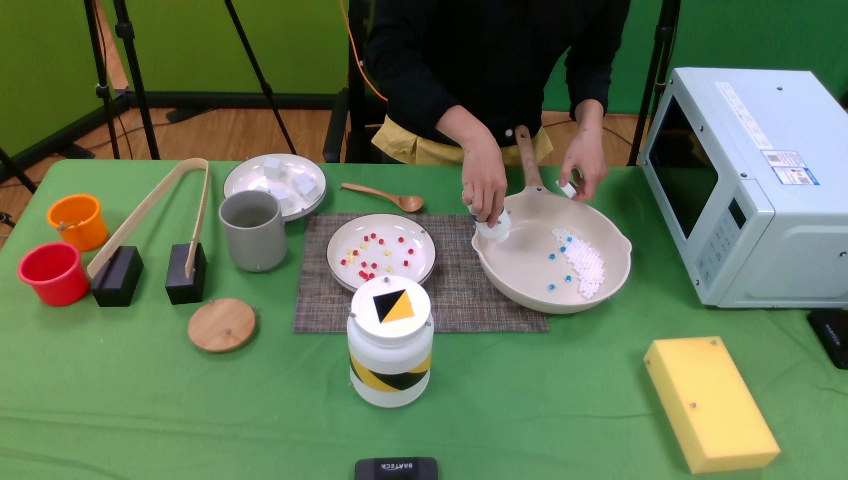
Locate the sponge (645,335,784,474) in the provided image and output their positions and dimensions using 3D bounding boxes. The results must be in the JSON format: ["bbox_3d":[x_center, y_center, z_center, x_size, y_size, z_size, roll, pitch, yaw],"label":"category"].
[{"bbox_3d":[0.449,0.253,0.956,0.118,0.061,0.205,-4,46,-7],"label":"sponge"}]

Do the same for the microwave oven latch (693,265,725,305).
[{"bbox_3d":[0.523,0.082,1.116,0.030,0.029,0.078,2,46,-1],"label":"microwave oven latch"}]

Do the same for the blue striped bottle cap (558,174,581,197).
[{"bbox_3d":[0.281,-0.106,1.164,0.045,0.020,0.044,29,36,-23],"label":"blue striped bottle cap"}]

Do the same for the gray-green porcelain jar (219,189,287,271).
[{"bbox_3d":[-0.310,-0.014,1.113,0.106,0.127,0.105,2,46,-2],"label":"gray-green porcelain jar"}]

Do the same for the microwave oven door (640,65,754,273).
[{"bbox_3d":[0.524,-0.148,1.193,0.039,0.245,0.353,0,47,-3],"label":"microwave oven door"}]

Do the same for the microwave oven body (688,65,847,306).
[{"bbox_3d":[0.669,-0.111,1.176,0.326,0.261,0.439,0,46,-3],"label":"microwave oven body"}]

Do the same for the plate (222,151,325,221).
[{"bbox_3d":[-0.310,-0.106,1.263,0.208,0.039,0.206,2,47,-2],"label":"plate"}]

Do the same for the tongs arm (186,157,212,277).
[{"bbox_3d":[-0.445,-0.058,1.168,0.051,0.026,0.382,-5,37,-6],"label":"tongs arm"}]

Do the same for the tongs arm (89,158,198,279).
[{"bbox_3d":[-0.529,-0.057,1.164,0.028,0.028,0.385,1,36,8],"label":"tongs arm"}]

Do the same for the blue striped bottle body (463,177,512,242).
[{"bbox_3d":[0.121,-0.051,1.111,0.063,0.121,0.062,-19,36,15],"label":"blue striped bottle body"}]

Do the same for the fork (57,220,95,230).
[{"bbox_3d":[-0.624,-0.027,1.087,0.028,0.207,0.018,-3,92,-17],"label":"fork"}]

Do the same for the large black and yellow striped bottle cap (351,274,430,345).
[{"bbox_3d":[-0.048,0.097,0.867,0.115,0.019,0.114,3,48,-3],"label":"large black and yellow striped bottle cap"}]

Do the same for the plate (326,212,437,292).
[{"bbox_3d":[-0.080,0.030,1.143,0.209,0.038,0.208,2,46,-2],"label":"plate"}]

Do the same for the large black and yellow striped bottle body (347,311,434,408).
[{"bbox_3d":[-0.052,0.157,0.929,0.131,0.185,0.130,2,47,-2],"label":"large black and yellow striped bottle body"}]

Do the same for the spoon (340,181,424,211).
[{"bbox_3d":[-0.090,-0.100,1.282,0.193,0.022,0.041,18,65,13],"label":"spoon"}]

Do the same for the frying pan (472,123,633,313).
[{"bbox_3d":[0.235,-0.060,1.207,0.307,0.103,0.484,2,54,-6],"label":"frying pan"}]

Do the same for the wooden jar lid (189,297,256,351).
[{"bbox_3d":[-0.342,0.145,1.033,0.108,0.021,0.107,2,45,-2],"label":"wooden jar lid"}]
